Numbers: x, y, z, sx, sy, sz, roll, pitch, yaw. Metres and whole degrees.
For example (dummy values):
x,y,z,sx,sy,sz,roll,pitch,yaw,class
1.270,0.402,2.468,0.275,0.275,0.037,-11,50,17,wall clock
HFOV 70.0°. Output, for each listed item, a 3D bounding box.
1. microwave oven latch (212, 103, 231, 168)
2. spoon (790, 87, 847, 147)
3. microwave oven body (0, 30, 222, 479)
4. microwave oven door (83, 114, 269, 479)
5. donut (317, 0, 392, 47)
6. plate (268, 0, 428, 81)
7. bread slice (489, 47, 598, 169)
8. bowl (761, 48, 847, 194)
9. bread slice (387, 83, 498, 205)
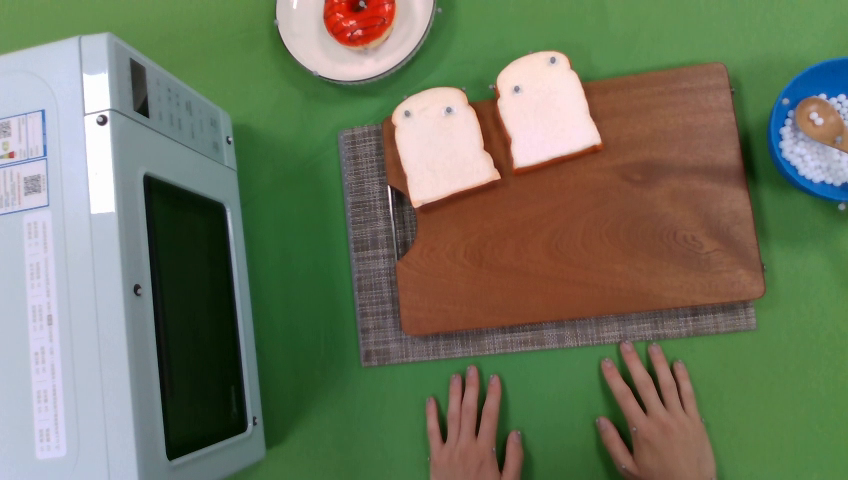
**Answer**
x,y,z,sx,sy,sz,roll,pitch,yaw,class
-0.264,-0.129,0.762,0.030,0.029,0.079,-9,83,8,microwave oven latch
0.442,-0.082,0.604,0.041,0.022,0.192,-34,61,9,spoon
-0.397,0.059,0.667,0.326,0.261,0.440,-10,83,8,microwave oven body
-0.249,0.074,0.635,0.039,0.245,0.354,-11,82,9,microwave oven door
-0.088,-0.290,0.756,0.099,0.048,0.099,-1,84,13,donut
-0.094,-0.299,0.770,0.207,0.039,0.207,-1,84,10,plate
0.130,-0.157,0.698,0.105,0.019,0.131,-18,81,6,bread slice
0.428,-0.116,0.642,0.151,0.077,0.151,-1,84,10,bowl
0.013,-0.116,0.712,0.107,0.018,0.133,-22,80,6,bread slice
